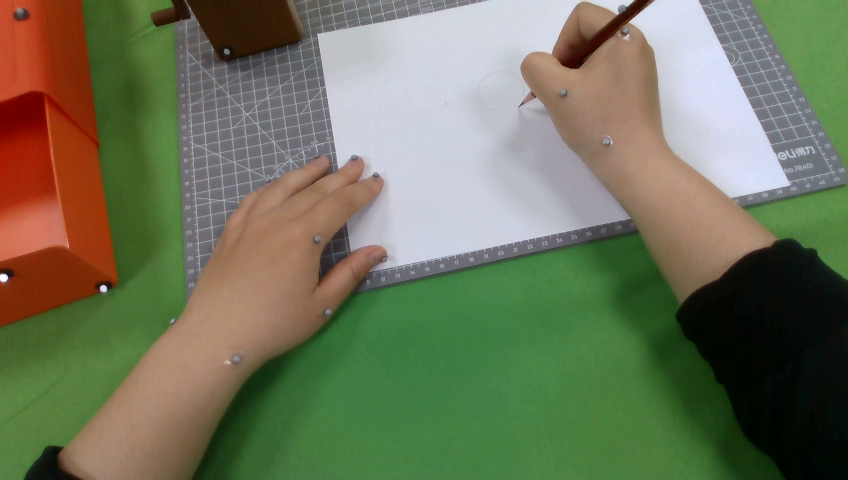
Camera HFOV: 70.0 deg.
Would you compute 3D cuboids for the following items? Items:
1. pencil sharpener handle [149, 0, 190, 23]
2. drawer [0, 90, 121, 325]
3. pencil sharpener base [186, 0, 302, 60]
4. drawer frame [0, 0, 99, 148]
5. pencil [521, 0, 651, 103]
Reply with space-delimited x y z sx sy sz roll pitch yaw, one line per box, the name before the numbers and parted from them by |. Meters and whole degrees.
pencil sharpener handle | -0.192 -0.184 0.430 0.030 0.068 0.035 -18 64 -2
drawer | -0.329 -0.037 0.411 0.194 0.074 0.210 -20 67 -4
pencil sharpener base | -0.143 -0.195 0.444 0.077 0.108 0.061 -18 66 -2
drawer frame | -0.368 -0.139 0.455 0.202 0.083 0.211 -19 66 -3
pencil | 0.113 -0.129 0.360 0.012 0.194 0.012 9 69 -24
